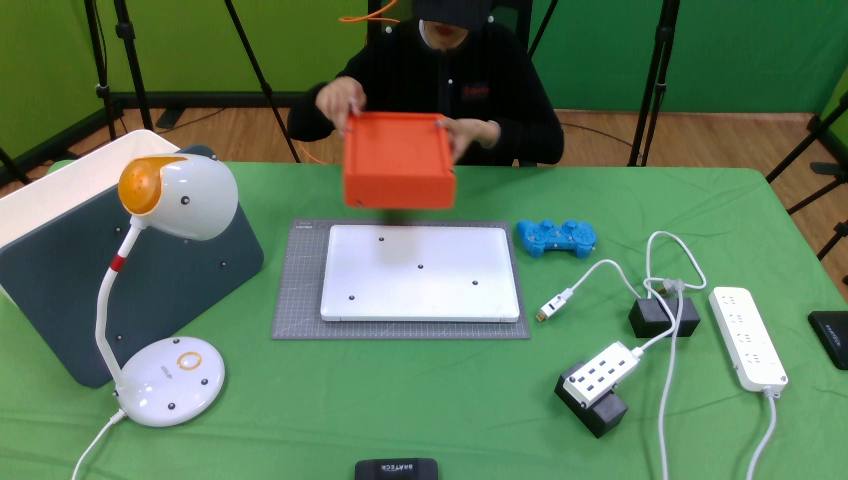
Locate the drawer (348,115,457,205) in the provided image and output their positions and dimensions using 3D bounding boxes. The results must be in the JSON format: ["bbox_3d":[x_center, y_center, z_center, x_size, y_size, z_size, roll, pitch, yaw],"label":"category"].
[{"bbox_3d":[-0.045,-0.156,1.163,0.195,0.073,0.210,0,43,-6],"label":"drawer"}]

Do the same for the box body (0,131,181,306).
[{"bbox_3d":[-0.550,-0.007,1.068,0.253,0.161,0.363,30,51,23],"label":"box body"}]

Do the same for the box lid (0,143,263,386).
[{"bbox_3d":[-0.444,0.032,0.979,0.015,0.264,0.371,13,42,41],"label":"box lid"}]

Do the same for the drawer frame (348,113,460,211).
[{"bbox_3d":[-0.043,-0.154,1.161,0.202,0.083,0.212,0,43,-6],"label":"drawer frame"}]

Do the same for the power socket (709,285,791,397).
[{"bbox_3d":[0.567,0.167,1.064,0.072,0.033,0.225,2,46,0],"label":"power socket"}]

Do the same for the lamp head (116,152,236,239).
[{"bbox_3d":[-0.315,-0.057,0.747,0.112,0.112,0.123,26,10,20],"label":"lamp head"}]

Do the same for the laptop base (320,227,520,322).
[{"bbox_3d":[-0.008,0.062,1.138,0.354,0.023,0.234,1,42,-3],"label":"laptop base"}]

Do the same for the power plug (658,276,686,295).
[{"bbox_3d":[0.450,0.087,1.113,0.073,0.052,0.035,-12,71,-55],"label":"power plug"}]

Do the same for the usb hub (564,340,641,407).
[{"bbox_3d":[0.278,0.205,0.944,0.125,0.025,0.049,-27,52,-28],"label":"usb hub"}]

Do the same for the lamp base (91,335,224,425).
[{"bbox_3d":[-0.401,0.171,0.892,0.160,0.181,0.179,30,53,23],"label":"lamp base"}]

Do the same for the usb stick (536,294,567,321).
[{"bbox_3d":[0.226,0.123,1.083,0.059,0.027,0.021,-38,76,-8],"label":"usb stick"}]

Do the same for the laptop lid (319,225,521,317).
[{"bbox_3d":[-0.008,0.052,1.131,0.357,0.013,0.240,2,43,-2],"label":"laptop lid"}]

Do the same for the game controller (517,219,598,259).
[{"bbox_3d":[0.269,-0.012,1.210,0.155,0.052,0.096,1,50,-2],"label":"game controller"}]
